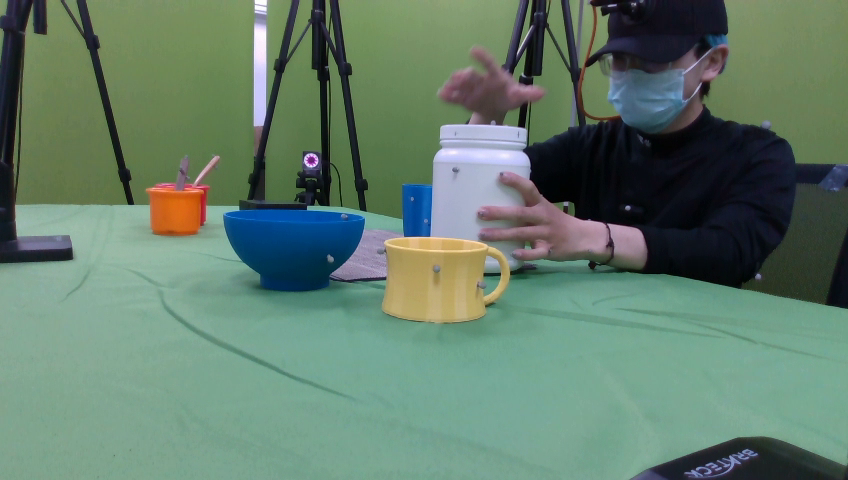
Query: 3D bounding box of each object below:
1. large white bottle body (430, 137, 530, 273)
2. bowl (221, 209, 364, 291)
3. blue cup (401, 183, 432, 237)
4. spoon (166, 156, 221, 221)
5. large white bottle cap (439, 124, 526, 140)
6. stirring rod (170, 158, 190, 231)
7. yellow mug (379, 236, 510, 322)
[{"bbox_3d":[0.074,-0.057,0.807,0.131,0.184,0.130,2,7,0],"label":"large white bottle body"},{"bbox_3d":[-0.142,0.011,0.660,0.151,0.077,0.151,2,7,0],"label":"bowl"},{"bbox_3d":[0.002,-0.038,0.966,0.093,0.100,0.092,4,9,0],"label":"blue cup"},{"bbox_3d":[-0.447,-0.104,1.192,0.041,0.022,0.193,7,52,14],"label":"spoon"},{"bbox_3d":[0.077,-0.140,0.796,0.115,0.018,0.115,2,7,0],"label":"large white bottle cap"},{"bbox_3d":[-0.426,-0.083,1.060,0.014,0.006,0.175,1,50,-13],"label":"stirring rod"},{"bbox_3d":[0.024,0.034,0.575,0.131,0.064,0.099,1,7,-22],"label":"yellow mug"}]
